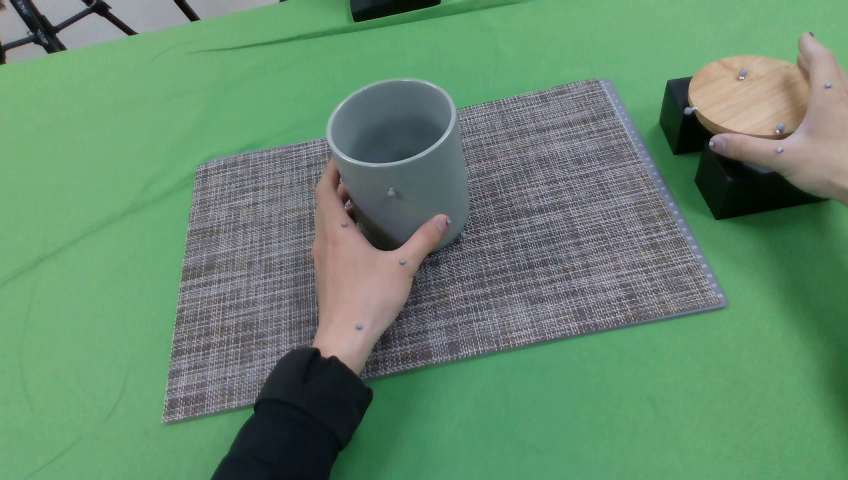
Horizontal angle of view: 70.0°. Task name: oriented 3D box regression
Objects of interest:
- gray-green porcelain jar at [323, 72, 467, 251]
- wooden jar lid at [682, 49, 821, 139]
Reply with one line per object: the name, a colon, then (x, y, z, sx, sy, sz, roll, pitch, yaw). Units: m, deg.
gray-green porcelain jar: (-0.019, -0.060, 0.522, 0.106, 0.128, 0.105, -5, 51, 7)
wooden jar lid: (0.281, -0.126, 0.525, 0.108, 0.021, 0.107, -5, 53, 7)
